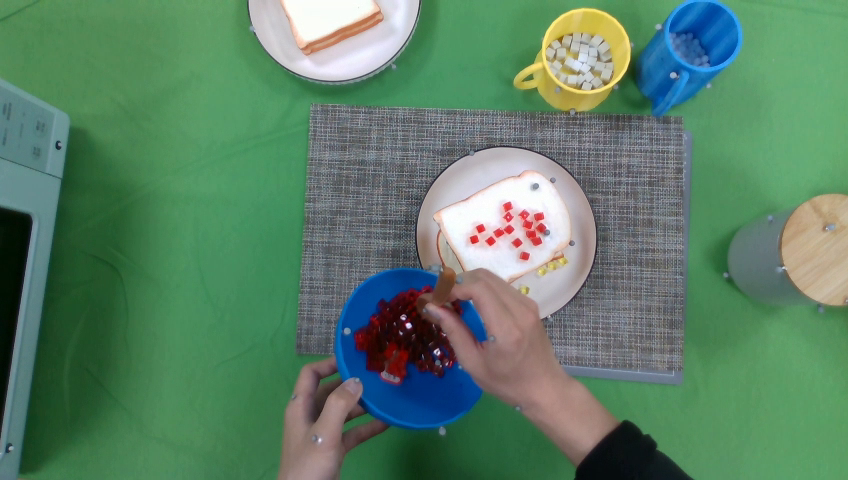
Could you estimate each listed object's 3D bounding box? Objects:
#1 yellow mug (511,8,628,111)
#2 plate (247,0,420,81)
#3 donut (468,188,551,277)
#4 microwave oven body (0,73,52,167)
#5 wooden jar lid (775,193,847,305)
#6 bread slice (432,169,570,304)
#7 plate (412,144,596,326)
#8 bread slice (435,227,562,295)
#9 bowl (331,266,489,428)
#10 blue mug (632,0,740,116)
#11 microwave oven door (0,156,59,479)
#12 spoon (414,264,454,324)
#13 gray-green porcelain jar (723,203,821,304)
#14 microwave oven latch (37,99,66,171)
[{"bbox_3d":[0.165,-0.203,0.706,0.131,0.064,0.099,-17,84,1],"label":"yellow mug"},{"bbox_3d":[-0.107,-0.290,0.734,0.208,0.039,0.207,0,84,1],"label":"plate"},{"bbox_3d":[0.095,-0.008,0.671,0.099,0.048,0.099,2,84,-17],"label":"donut"},{"bbox_3d":[-0.607,0.029,0.597,0.326,0.260,0.440,5,85,1],"label":"microwave oven body"},{"bbox_3d":[0.392,0.009,0.588,0.108,0.021,0.108,0,87,-1],"label":"wooden jar lid"},{"bbox_3d":[0.086,-0.014,0.640,0.134,0.018,0.107,-32,91,-10],"label":"bread slice"},{"bbox_3d":[0.091,-0.006,0.699,0.209,0.038,0.208,0,84,1],"label":"plate"},{"bbox_3d":[0.081,0.003,0.701,0.131,0.019,0.104,-29,83,-3],"label":"bread slice"},{"bbox_3d":[-0.023,0.108,0.573,0.152,0.077,0.150,13,59,-21],"label":"bowl"},{"bbox_3d":[0.285,-0.195,0.684,0.082,0.106,0.116,24,85,4],"label":"blue mug"},{"bbox_3d":[-0.466,0.084,0.584,0.039,0.244,0.355,5,84,2],"label":"microwave oven door"},{"bbox_3d":[0.011,0.048,0.503,0.041,0.194,0.021,30,78,5],"label":"spoon"},{"bbox_3d":[0.394,0.017,0.650,0.106,0.127,0.105,0,84,1],"label":"gray-green porcelain jar"},{"bbox_3d":[-0.441,-0.123,0.705,0.030,0.029,0.079,9,85,2],"label":"microwave oven latch"}]
